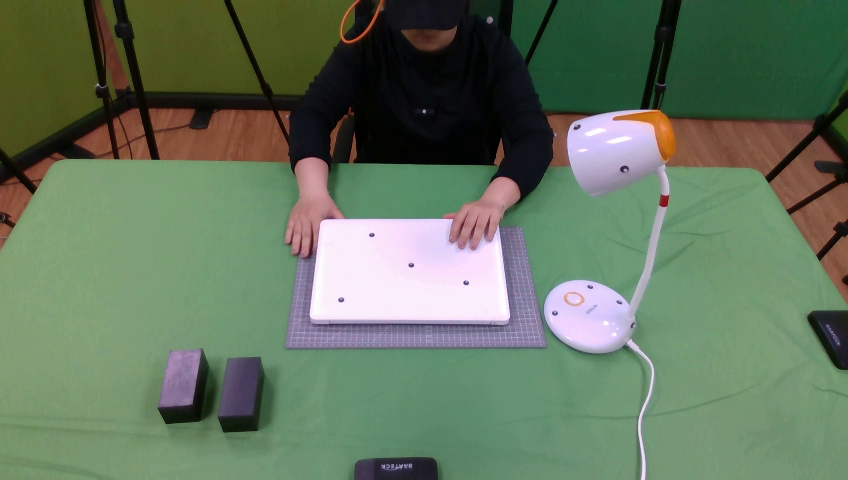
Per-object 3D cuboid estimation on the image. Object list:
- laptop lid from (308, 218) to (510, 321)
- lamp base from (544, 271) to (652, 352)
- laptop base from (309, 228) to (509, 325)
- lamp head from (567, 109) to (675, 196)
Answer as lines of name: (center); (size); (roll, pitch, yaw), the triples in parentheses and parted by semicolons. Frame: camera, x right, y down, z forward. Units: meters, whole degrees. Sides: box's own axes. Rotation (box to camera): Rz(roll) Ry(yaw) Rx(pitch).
laptop lid: (-0.026, 0.049, 1.119); (0.357, 0.013, 0.240); (2, 50, -2)
lamp base: (0.310, 0.086, 1.029); (0.178, 0.181, 0.160); (32, 52, 21)
laptop base: (-0.027, 0.065, 1.134); (0.355, 0.023, 0.234); (1, 43, -4)
lamp head: (0.272, -0.123, 0.818); (0.122, 0.113, 0.112); (-9, 35, 37)
